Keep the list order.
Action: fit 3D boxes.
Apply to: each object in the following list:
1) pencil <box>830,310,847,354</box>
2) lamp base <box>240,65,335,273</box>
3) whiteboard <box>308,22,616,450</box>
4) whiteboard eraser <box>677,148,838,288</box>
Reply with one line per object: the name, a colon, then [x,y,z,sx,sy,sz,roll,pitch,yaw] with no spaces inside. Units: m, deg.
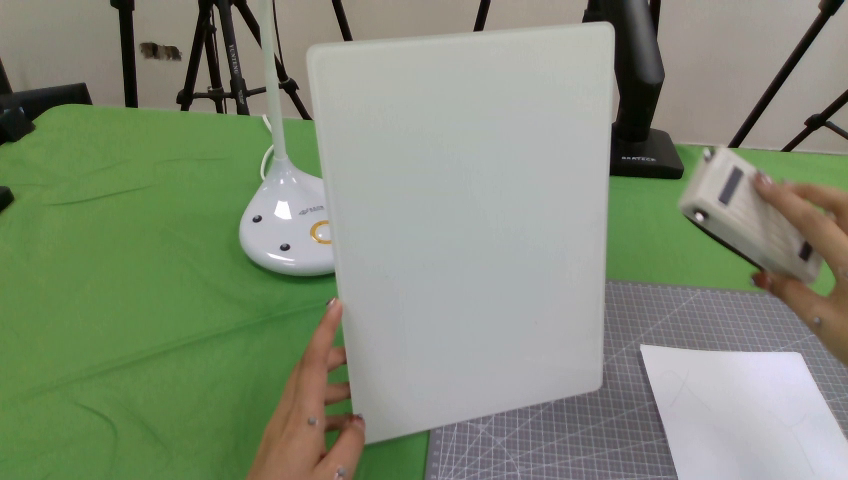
pencil: [0.392,0.133,0.533,0.012,0.012,0.192,8,40,8]
lamp base: [-0.132,-0.083,0.646,0.161,0.182,0.177,-28,45,-33]
whiteboard: [0.026,-0.015,0.513,0.218,0.307,0.142,-9,20,-12]
whiteboard eraser: [0.248,-0.016,0.457,0.113,0.042,0.055,33,81,-4]
